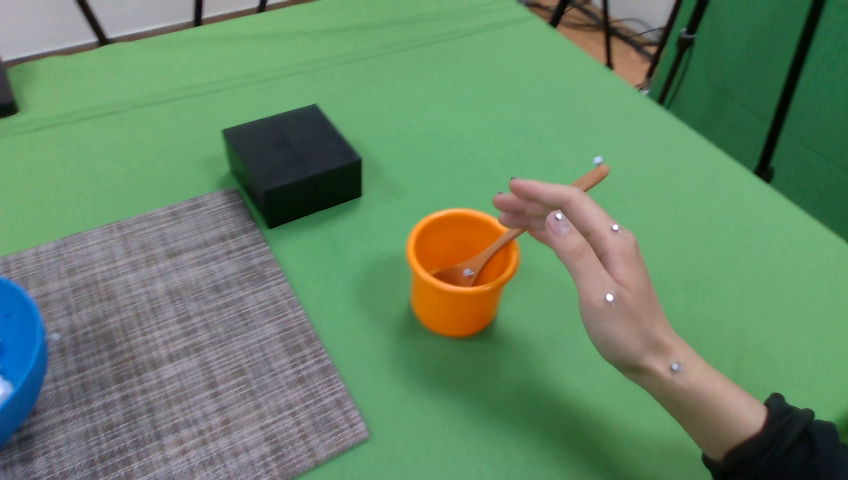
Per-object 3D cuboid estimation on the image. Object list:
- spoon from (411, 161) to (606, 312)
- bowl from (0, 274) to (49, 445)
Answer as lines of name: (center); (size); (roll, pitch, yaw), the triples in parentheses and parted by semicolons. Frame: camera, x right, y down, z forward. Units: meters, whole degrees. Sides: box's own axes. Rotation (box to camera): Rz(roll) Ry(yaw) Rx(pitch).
spoon: (0.066, -0.002, 0.492); (0.022, 0.194, 0.041); (26, 32, -48)
bowl: (-0.322, 0.100, 0.402); (0.151, 0.077, 0.150); (3, 48, -3)
